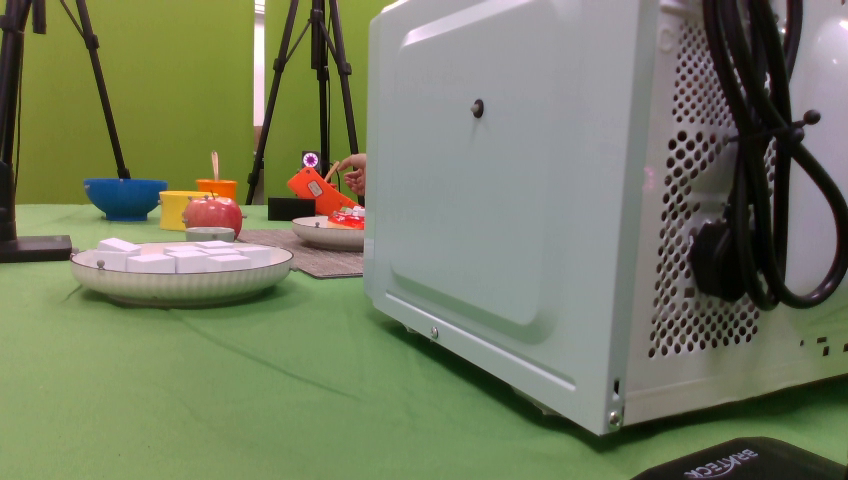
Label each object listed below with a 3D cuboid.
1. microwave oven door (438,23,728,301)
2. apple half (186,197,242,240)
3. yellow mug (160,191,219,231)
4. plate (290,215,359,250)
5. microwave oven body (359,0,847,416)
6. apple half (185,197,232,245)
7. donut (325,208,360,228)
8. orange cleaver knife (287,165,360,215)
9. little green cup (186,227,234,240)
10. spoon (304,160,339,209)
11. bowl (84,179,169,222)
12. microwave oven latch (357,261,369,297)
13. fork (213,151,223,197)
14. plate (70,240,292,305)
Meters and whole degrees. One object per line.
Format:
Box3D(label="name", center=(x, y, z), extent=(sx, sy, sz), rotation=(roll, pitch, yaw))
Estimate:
Box3D(label="microwave oven door", center=(0.181, -0.072, 0.621), extent=(0.358, 0.243, 0.039), rotation=(-2, 8, -29))
Box3D(label="apple half", center=(-0.306, -0.026, 0.905), extent=(0.053, 0.074, 0.081), rotation=(14, 9, 37))
Box3D(label="yellow mug", center=(-0.416, -0.053, 1.103), extent=(0.130, 0.064, 0.100), rotation=(7, 8, 27))
Box3D(label="plate", center=(-0.110, -0.013, 0.974), extent=(0.209, 0.038, 0.209), rotation=(3, 8, 0))
Box3D(label="microwave oven body", center=(0.211, -0.047, 0.474), extent=(0.444, 0.260, 0.324), rotation=(-1, 7, -28))
Box3D(label="apple half", center=(-0.337, -0.031, 0.928), extent=(0.032, 0.081, 0.082), rotation=(13, 13, 37))
Box3D(label="donut", center=(-0.110, -0.025, 0.974), extent=(0.099, 0.048, 0.099), rotation=(5, 8, 0))
Box3D(label="orange cleaver knife", center=(-0.211, -0.092, 1.382), extent=(0.212, 0.077, 0.012), rotation=(34, 1, -15))
Box3D(label="little green cup", center=(-0.285, 0.005, 0.805), extent=(0.061, 0.038, 0.061), rotation=(3, 8, 0))
Box3D(label="spoon", center=(-0.258, -0.147, 1.567), extent=(0.041, 0.022, 0.193), rotation=(5, 51, 21))
Box3D(label="bowl", center=(-0.584, -0.078, 1.194), extent=(0.151, 0.077, 0.151), rotation=(3, 8, 0))
Box3D(label="microwave oven latch", center=(-0.019, 0.033, 0.530), extent=(0.079, 0.029, 0.030), rotation=(-1, 7, -26))
Box3D(label="fork", center=(-0.494, -0.143, 1.442), extent=(0.028, 0.018, 0.206), rotation=(-1, 52, -21))
Box3D(label="plate", center=(-0.242, 0.031, 0.618), extent=(0.208, 0.039, 0.207), rotation=(2, 8, 0))
